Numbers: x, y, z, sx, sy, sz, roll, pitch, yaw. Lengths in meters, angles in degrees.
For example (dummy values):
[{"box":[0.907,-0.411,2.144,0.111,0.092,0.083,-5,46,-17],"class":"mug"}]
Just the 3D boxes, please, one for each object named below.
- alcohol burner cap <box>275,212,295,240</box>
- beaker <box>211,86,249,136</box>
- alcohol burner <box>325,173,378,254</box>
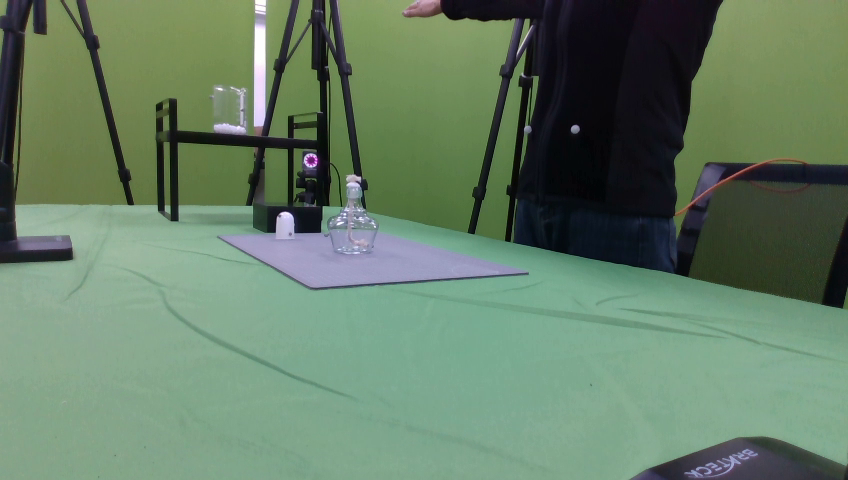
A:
[{"box":[-0.233,-0.024,1.013,0.034,0.048,0.034,1,7,0],"class":"alcohol burner cap"},{"box":[-0.413,-0.274,1.297,0.074,0.100,0.083,-5,11,-44],"class":"beaker"},{"box":[-0.107,-0.040,0.896,0.078,0.119,0.078,2,5,0],"class":"alcohol burner"}]
